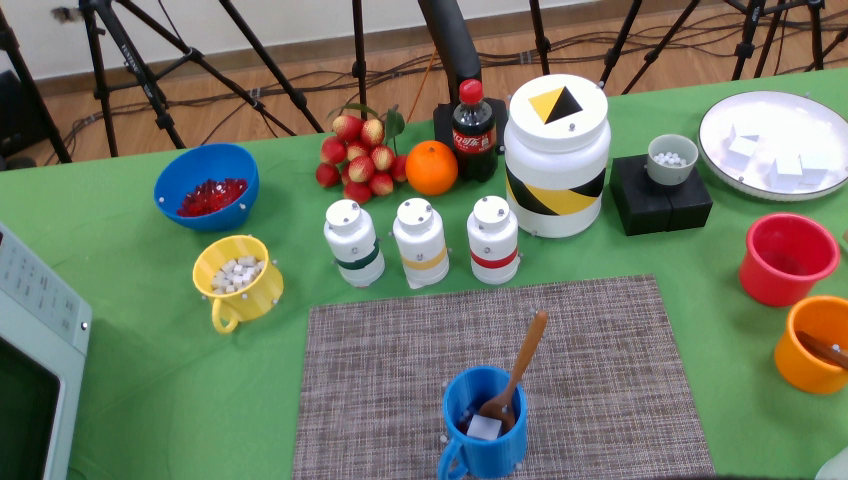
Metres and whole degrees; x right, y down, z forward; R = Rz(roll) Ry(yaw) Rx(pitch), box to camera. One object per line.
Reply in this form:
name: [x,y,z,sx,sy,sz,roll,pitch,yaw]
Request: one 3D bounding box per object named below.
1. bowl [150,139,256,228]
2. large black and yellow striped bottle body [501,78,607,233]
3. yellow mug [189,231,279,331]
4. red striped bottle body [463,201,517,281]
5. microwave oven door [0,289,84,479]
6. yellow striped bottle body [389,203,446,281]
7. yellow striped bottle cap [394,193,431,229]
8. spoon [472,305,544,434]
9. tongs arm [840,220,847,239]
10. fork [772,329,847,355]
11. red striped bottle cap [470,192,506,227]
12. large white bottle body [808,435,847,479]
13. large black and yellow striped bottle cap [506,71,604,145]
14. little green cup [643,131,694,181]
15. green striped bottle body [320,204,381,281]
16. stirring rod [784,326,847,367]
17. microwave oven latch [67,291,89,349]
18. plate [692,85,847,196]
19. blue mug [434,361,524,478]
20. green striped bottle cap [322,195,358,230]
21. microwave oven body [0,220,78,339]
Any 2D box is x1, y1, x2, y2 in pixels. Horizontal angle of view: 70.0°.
bowl: [-0.315,-0.070,0.901,0.151,0.077,0.150,-4,53,5]
large black and yellow striped bottle body: [0.167,-0.111,0.792,0.130,0.186,0.129,-4,53,6]
yellow mug: [-0.255,0.059,0.803,0.100,0.064,0.129,3,55,9]
red striped bottle body: [0.085,-0.005,0.766,0.063,0.121,0.062,-6,52,8]
microwave oven door: [-0.434,0.214,0.582,0.039,0.246,0.352,-14,53,-1]
yellow striped bottle body: [-0.008,-0.005,0.779,0.063,0.121,0.062,-5,53,6]
yellow striped bottle cap: [-0.015,-0.035,0.738,0.044,0.019,0.044,-4,54,5]
spoon: [0.085,0.133,0.595,0.041,0.195,0.021,27,44,14]
tongs arm: [0.596,0.120,0.647,0.051,0.027,0.380,-15,54,-5]
fork: [0.448,0.113,0.604,0.028,0.019,0.206,-38,13,-18]
red striped bottle cap: [0.077,-0.037,0.724,0.044,0.018,0.044,-2,52,3]
large white bottle body: [0.427,0.209,0.512,0.130,0.186,0.129,-4,53,6]
large black and yellow striped bottle cap: [0.156,-0.160,0.724,0.115,0.019,0.114,-5,52,6]
little green cup: [0.318,-0.109,0.795,0.061,0.039,0.061,-3,51,4]
green striped bottle body: [-0.097,-0.003,0.792,0.063,0.120,0.062,-4,53,6]
stirring rod: [0.418,0.117,0.614,0.014,0.006,0.175,-3,10,3]
microwave oven latch: [-0.462,0.107,0.795,0.030,0.030,0.078,-13,53,-2]
plate: [0.486,-0.138,0.855,0.209,0.038,0.207,-4,54,6]
blue mug: [0.051,0.196,0.625,0.081,0.107,0.116,33,64,29]
green striped bottle cap: [-0.104,-0.034,0.750,0.044,0.020,0.044,-3,52,5]
microwave oven body: [-0.584,0.219,0.608,0.326,0.263,0.437,-13,53,-2]
